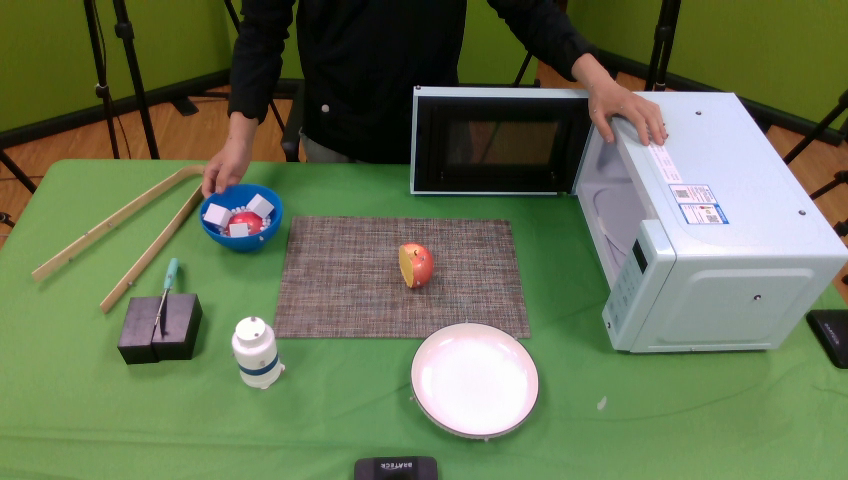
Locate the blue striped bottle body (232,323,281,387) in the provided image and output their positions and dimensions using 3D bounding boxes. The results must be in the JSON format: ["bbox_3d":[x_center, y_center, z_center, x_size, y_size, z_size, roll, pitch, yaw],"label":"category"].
[{"bbox_3d":[-0.262,0.172,0.944,0.063,0.121,0.062,2,46,-2],"label":"blue striped bottle body"}]

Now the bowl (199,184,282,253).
[{"bbox_3d":[-0.347,-0.030,1.164,0.151,0.077,0.150,3,46,-3],"label":"bowl"}]

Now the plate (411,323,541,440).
[{"bbox_3d":[0.082,0.228,0.976,0.208,0.039,0.206,2,45,-2],"label":"plate"}]

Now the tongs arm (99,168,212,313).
[{"bbox_3d":[-0.504,-0.012,1.167,0.028,0.028,0.385,11,46,10],"label":"tongs arm"}]

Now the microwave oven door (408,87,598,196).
[{"bbox_3d":[0.149,-0.194,1.227,0.356,0.245,0.039,0,45,-4],"label":"microwave oven door"}]

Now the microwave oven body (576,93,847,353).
[{"bbox_3d":[0.475,-0.041,1.109,0.326,0.261,0.438,-1,45,-4],"label":"microwave oven body"}]

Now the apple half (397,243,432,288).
[{"bbox_3d":[-0.013,0.047,1.115,0.053,0.075,0.080,-10,43,-21],"label":"apple half"}]

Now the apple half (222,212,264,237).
[{"bbox_3d":[-0.347,-0.033,1.161,0.081,0.033,0.081,4,46,-4],"label":"apple half"}]

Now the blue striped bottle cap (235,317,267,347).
[{"bbox_3d":[-0.259,0.137,0.907,0.044,0.021,0.044,3,43,-2],"label":"blue striped bottle cap"}]

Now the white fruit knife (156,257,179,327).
[{"bbox_3d":[-0.440,0.085,1.037,0.016,0.027,0.206,10,26,-19],"label":"white fruit knife"}]

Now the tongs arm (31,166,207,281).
[{"bbox_3d":[-0.578,-0.040,1.185,0.050,0.026,0.384,23,48,17],"label":"tongs arm"}]

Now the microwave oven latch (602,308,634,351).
[{"bbox_3d":[0.332,0.153,1.044,0.030,0.029,0.078,-1,45,-4],"label":"microwave oven latch"}]
